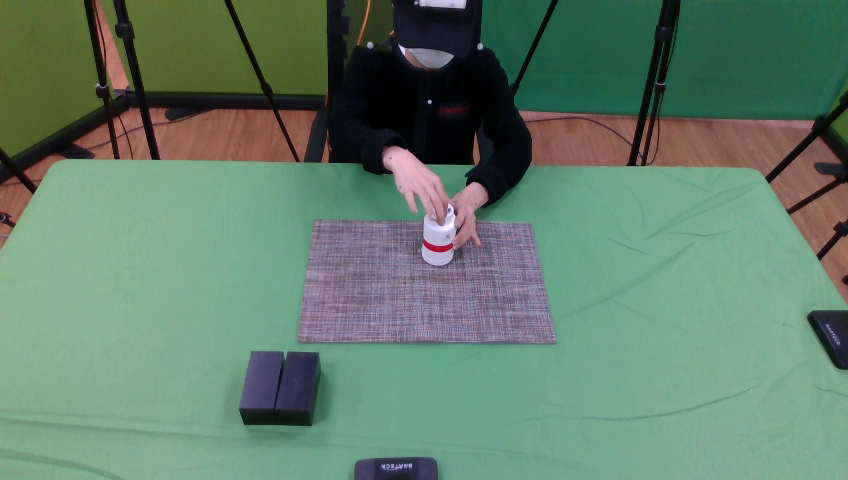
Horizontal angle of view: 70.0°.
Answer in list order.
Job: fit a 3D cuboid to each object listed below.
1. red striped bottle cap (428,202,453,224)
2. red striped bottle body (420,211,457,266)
[{"bbox_3d":[0.031,-0.050,1.100,0.044,0.018,0.044,4,44,-3],"label":"red striped bottle cap"},{"bbox_3d":[0.027,-0.012,1.139,0.063,0.120,0.062,3,45,-2],"label":"red striped bottle body"}]
